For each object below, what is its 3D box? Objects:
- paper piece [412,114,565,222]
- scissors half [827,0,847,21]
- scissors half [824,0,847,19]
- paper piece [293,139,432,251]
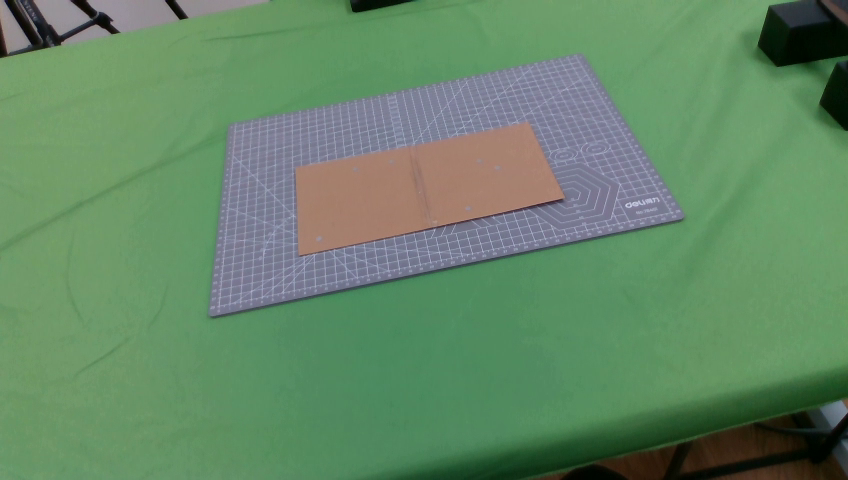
[{"bbox_3d":[0.062,-0.081,0.636,0.135,0.004,0.134,-12,47,0],"label":"paper piece"},{"bbox_3d":[0.445,-0.222,0.627,0.040,0.013,0.173,-3,47,8],"label":"scissors half"},{"bbox_3d":[0.464,-0.226,0.626,0.040,0.013,0.173,-20,46,0],"label":"scissors half"},{"bbox_3d":[-0.069,-0.052,0.634,0.138,0.009,0.134,-12,45,0],"label":"paper piece"}]
